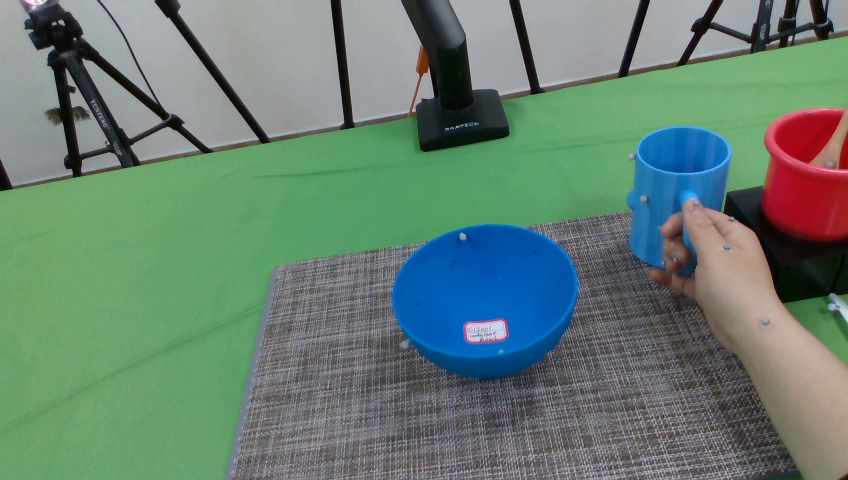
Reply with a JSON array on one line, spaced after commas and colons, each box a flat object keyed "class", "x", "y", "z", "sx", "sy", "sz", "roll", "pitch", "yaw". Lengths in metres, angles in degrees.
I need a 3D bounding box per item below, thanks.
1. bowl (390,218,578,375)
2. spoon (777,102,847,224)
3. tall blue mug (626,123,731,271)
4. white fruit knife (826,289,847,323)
[{"class": "bowl", "x": 0.053, "y": 0.060, "z": 0.509, "sx": 0.151, "sy": 0.077, "sz": 0.150, "roll": -7, "pitch": 41, "yaw": 7}, {"class": "spoon", "x": 0.348, "y": -0.101, "z": 0.495, "sx": 0.041, "sy": 0.022, "sz": 0.194, "roll": 30, "pitch": 100, "yaw": 41}, {"class": "tall blue mug", "x": 0.235, "y": -0.032, "z": 0.543, "sx": 0.078, "sy": 0.109, "sz": 0.106, "roll": -19, "pitch": 41, "yaw": -8}, {"class": "white fruit knife", "x": 0.348, "y": 0.107, "z": 0.435, "sx": 0.027, "sy": 0.016, "sz": 0.205, "roll": 12, "pitch": 37, "yaw": -13}]
